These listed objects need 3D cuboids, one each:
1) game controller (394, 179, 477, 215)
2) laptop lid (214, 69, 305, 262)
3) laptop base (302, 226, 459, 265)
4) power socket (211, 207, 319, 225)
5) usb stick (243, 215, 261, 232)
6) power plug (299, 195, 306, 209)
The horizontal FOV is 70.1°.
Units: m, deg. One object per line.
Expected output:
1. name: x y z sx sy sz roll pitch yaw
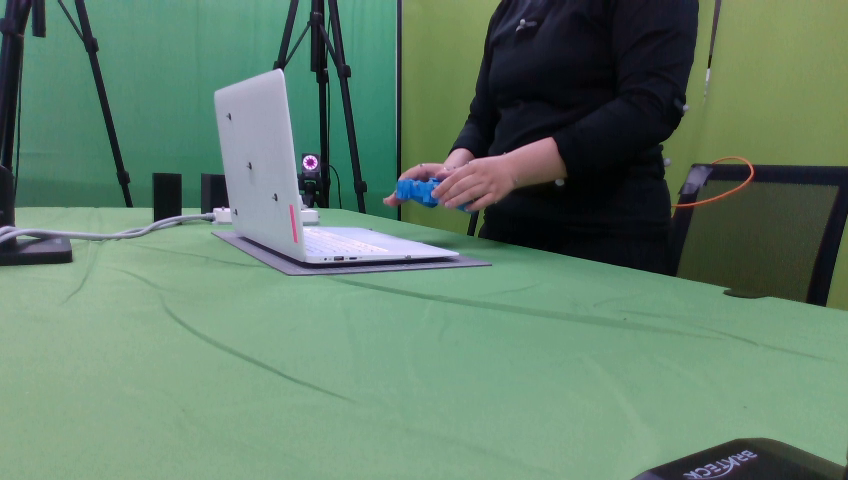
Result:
1. game controller: 0.017 -0.080 1.041 0.097 0.051 0.154 10 1 -32
2. laptop lid: -0.246 -0.107 0.865 0.013 0.241 0.355 -11 14 -30
3. laptop base: -0.136 0.006 0.951 0.237 0.023 0.352 2 6 -32
4. power socket: -0.334 -0.051 1.281 0.228 0.032 0.072 -1 9 -29
5. usb stick: -0.302 -0.028 1.070 0.021 0.027 0.059 0 12 -30
6. power plug: -0.283 -0.075 1.342 0.035 0.052 0.072 0 4 -18
